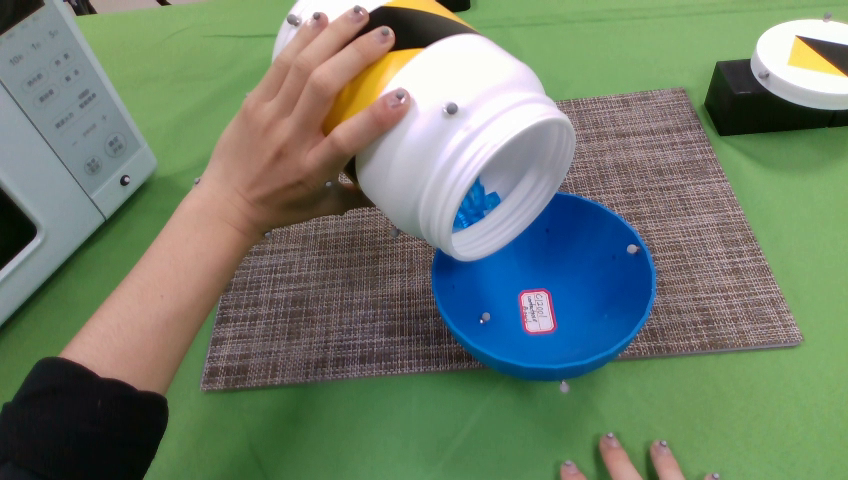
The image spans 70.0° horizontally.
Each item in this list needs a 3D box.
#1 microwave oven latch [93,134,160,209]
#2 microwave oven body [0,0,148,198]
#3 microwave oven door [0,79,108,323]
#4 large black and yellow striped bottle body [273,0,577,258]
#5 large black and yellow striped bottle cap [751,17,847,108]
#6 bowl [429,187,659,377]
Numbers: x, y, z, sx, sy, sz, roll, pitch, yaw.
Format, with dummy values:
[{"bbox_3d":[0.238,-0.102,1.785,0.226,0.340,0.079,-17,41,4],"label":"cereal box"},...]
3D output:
[{"bbox_3d":[-0.290,-0.068,0.581,0.030,0.030,0.079,20,57,21],"label":"microwave oven latch"},{"bbox_3d":[-0.510,-0.042,0.462,0.324,0.263,0.439,18,56,20],"label":"microwave oven body"},{"bbox_3d":[-0.398,0.026,0.387,0.039,0.246,0.354,17,56,20],"label":"microwave oven door"},{"bbox_3d":[-0.001,-0.086,0.410,0.131,0.132,0.182,-35,61,-19],"label":"large black and yellow striped bottle body"},{"bbox_3d":[0.360,-0.162,0.546,0.115,0.019,0.114,-4,50,6],"label":"large black and yellow striped bottle cap"},{"bbox_3d":[0.082,0.041,0.438,0.151,0.077,0.150,-4,51,5],"label":"bowl"}]
